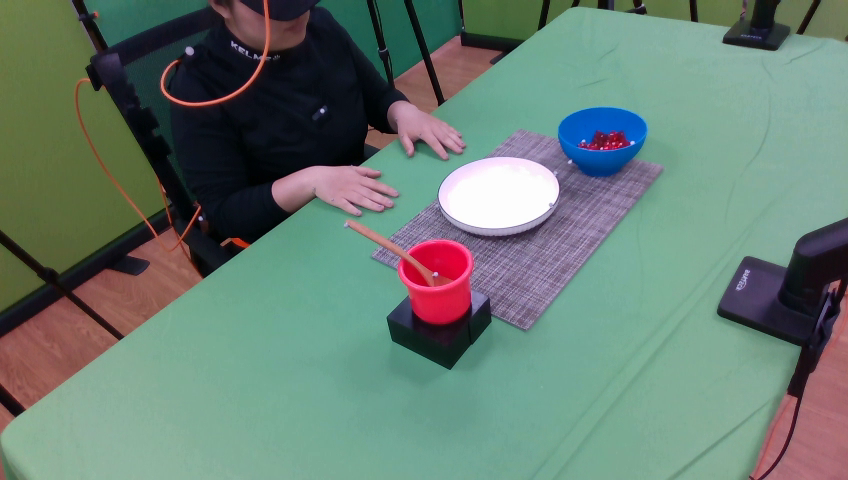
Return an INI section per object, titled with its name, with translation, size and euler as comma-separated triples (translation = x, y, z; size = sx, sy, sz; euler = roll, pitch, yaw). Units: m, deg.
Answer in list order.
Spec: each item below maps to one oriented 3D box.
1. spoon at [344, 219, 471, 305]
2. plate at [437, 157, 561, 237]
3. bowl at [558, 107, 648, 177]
[spoon]
translation = -0.020, 0.026, 0.781
size = 0.194, 0.021, 0.041
euler = 37, 43, -14
[plate]
translation = 0.127, -0.070, 1.023
size = 0.207, 0.039, 0.206
euler = -5, 40, 5
[bowl]
translation = 0.313, -0.165, 1.069
size = 0.151, 0.077, 0.150
euler = -5, 40, 5
